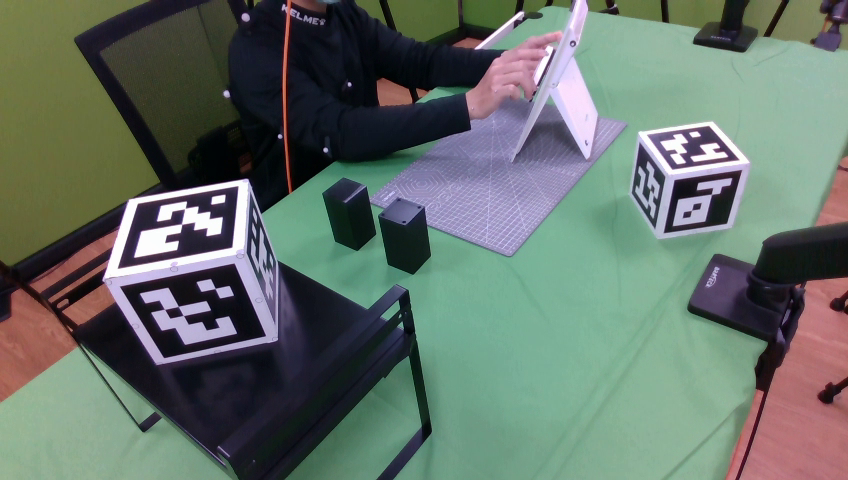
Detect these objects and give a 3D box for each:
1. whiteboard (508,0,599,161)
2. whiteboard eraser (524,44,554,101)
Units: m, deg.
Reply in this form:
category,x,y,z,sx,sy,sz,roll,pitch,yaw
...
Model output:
category,x,y,z,sx,sy,sz,roll,pitch,yaw
whiteboard,0.285,-0.289,1.088,0.144,0.305,0.217,22,45,3
whiteboard eraser,0.205,-0.297,1.076,0.019,0.101,0.041,23,31,3
